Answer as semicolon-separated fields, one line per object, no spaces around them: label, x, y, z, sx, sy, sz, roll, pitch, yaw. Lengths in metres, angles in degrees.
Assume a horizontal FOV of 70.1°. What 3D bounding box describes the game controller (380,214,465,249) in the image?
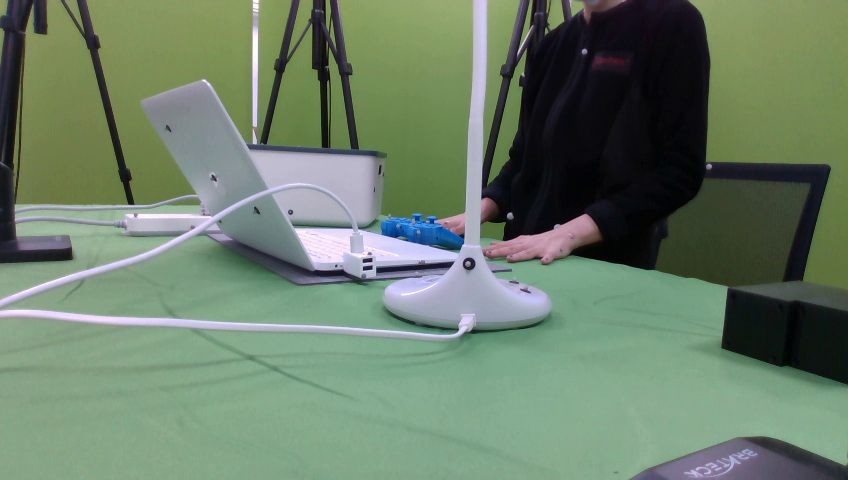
game controller;-0.007;-0.016;1.032;0.097;0.051;0.154;-4;9;-32

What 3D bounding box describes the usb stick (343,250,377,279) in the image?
usb stick;-0.076;0.026;0.687;0.021;0.027;0.059;-8;9;-31

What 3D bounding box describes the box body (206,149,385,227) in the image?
box body;-0.276;-0.124;1.334;0.364;0.160;0.254;3;7;1

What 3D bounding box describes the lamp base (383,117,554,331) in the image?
lamp base;0.045;-0.019;0.547;0.161;0.180;0.179;2;10;-4

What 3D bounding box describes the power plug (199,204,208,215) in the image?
power plug;-0.387;-0.055;1.089;0.035;0.052;0.072;-1;6;-22

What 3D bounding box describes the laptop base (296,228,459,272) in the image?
laptop base;-0.123;0.011;0.889;0.237;0.023;0.352;2;6;-35

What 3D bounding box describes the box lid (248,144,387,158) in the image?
box lid;-0.275;-0.197;1.326;0.372;0.015;0.263;4;8;1

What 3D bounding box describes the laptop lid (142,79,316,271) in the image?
laptop lid;-0.265;-0.082;0.775;0.013;0.242;0.355;-37;28;-25

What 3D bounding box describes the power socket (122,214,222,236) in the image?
power socket;-0.398;-0.028;1.049;0.228;0.032;0.072;-3;8;-34
